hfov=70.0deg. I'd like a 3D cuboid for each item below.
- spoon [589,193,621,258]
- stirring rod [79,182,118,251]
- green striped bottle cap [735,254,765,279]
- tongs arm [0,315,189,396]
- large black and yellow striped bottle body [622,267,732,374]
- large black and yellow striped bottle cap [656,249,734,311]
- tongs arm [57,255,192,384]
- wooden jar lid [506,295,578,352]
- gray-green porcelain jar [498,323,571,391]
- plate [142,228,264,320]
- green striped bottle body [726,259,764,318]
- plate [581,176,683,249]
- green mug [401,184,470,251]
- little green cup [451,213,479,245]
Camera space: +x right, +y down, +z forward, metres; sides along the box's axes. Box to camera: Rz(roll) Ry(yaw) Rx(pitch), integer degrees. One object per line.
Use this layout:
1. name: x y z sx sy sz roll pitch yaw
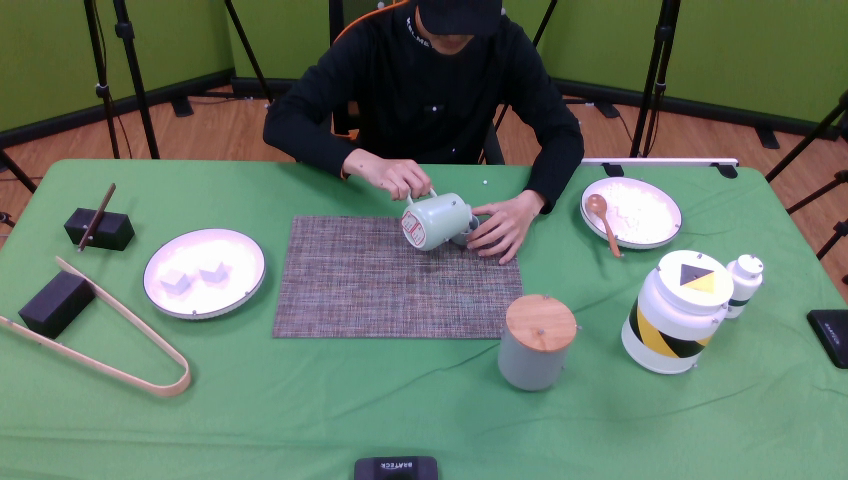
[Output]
1. spoon: 0.367 -0.032 1.220 0.041 0.022 0.192 1 38 -1
2. stirring rod: -0.605 -0.046 1.130 0.006 0.014 0.175 1 47 0
3. green striped bottle cap: 0.566 0.046 1.051 0.044 0.020 0.044 0 45 0
4. tongs arm: -0.555 0.170 0.981 0.384 0.026 0.050 21 43 14
5. large black and yellow striped bottle body: 0.415 0.119 0.997 0.131 0.185 0.130 2 46 -2
6. large black and yellow striped bottle cap: 0.419 0.061 0.938 0.115 0.019 0.114 2 47 -2
7. tongs arm: -0.517 0.126 1.033 0.386 0.028 0.028 30 43 23
8. wooden jar lid: 0.179 0.130 0.925 0.108 0.021 0.107 2 43 -2
9. gray-green porcelain jar: 0.176 0.172 0.971 0.106 0.127 0.105 2 46 -2
10. plate: -0.394 0.064 1.095 0.208 0.039 0.206 2 46 -2
11. green striped bottle body: 0.563 0.081 1.089 0.063 0.120 0.063 2 46 -2
12. plate: 0.430 -0.054 1.267 0.209 0.038 0.208 2 46 -2
13. green mug: 0.011 -0.050 1.131 0.105 0.093 0.125 -25 75 -32
14. little green cup: 0.079 -0.022 1.205 0.061 0.039 0.061 0 49 1
